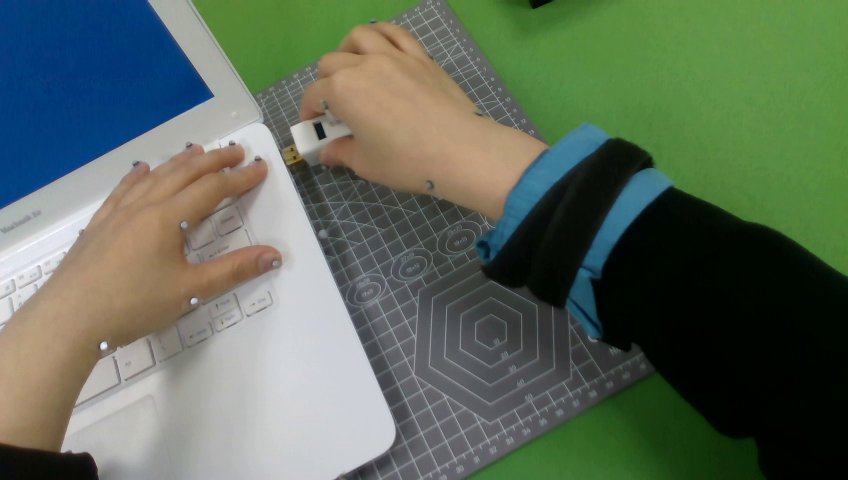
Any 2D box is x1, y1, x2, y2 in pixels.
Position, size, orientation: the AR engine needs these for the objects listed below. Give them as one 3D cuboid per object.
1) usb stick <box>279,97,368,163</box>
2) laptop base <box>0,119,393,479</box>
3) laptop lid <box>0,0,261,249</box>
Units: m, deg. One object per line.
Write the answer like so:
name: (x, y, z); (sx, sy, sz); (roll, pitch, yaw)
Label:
usb stick: (-0.068, -0.067, 0.388); (0.059, 0.027, 0.021); (-23, 77, 5)
laptop base: (-0.216, 0.092, 0.372); (0.354, 0.023, 0.233); (-27, 69, 0)
laptop lid: (-0.306, -0.083, 0.343); (0.357, 0.244, 0.013); (-28, 40, 1)
